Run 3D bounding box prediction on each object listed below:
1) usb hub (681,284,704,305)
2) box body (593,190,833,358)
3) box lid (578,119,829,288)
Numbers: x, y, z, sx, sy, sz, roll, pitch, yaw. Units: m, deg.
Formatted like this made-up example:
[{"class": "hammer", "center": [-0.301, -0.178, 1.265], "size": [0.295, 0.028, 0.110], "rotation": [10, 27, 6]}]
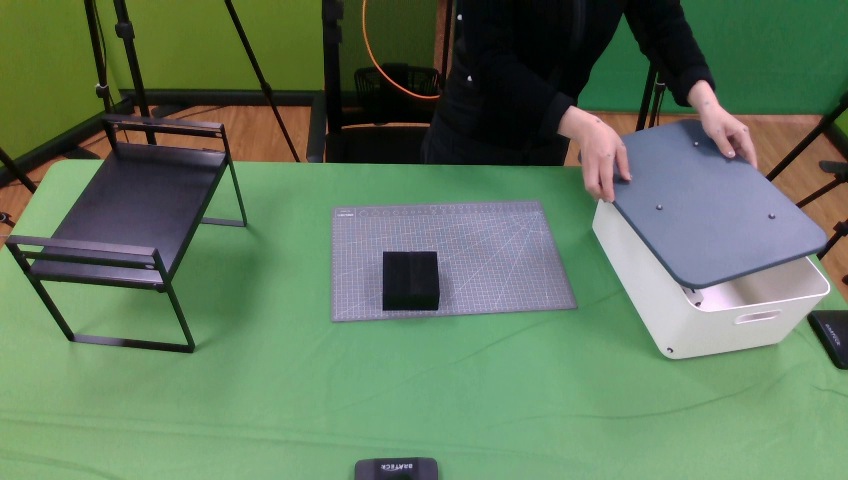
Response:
[{"class": "usb hub", "center": [0.481, 0.071, 1.153], "size": [0.049, 0.025, 0.124], "rotation": [-5, 44, -6]}, {"class": "box body", "center": [0.497, 0.023, 1.112], "size": [0.254, 0.161, 0.361], "rotation": [-7, 47, -10]}, {"class": "box lid", "center": [0.454, -0.082, 1.029], "size": [0.263, 0.015, 0.369], "rotation": [-15, 46, -9]}]
